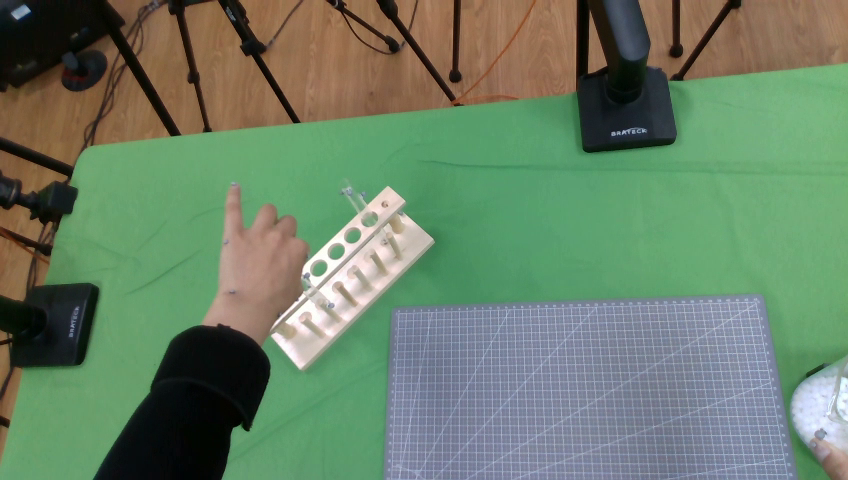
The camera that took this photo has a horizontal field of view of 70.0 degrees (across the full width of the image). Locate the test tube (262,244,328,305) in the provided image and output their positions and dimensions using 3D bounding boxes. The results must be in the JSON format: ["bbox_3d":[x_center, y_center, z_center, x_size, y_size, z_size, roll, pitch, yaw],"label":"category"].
[{"bbox_3d":[-0.142,0.041,0.680,0.017,0.152,0.017,-6,63,12],"label":"test tube"}]

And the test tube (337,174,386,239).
[{"bbox_3d":[-0.074,-0.038,0.752,0.017,0.151,0.017,-6,64,13],"label":"test tube"}]

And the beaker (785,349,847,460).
[{"bbox_3d":[0.311,0.119,0.436,0.084,0.101,0.073,-18,63,2],"label":"beaker"}]

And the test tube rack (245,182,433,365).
[{"bbox_3d":[-0.103,0.045,0.779,0.242,0.086,0.066,-44,66,-8],"label":"test tube rack"}]
